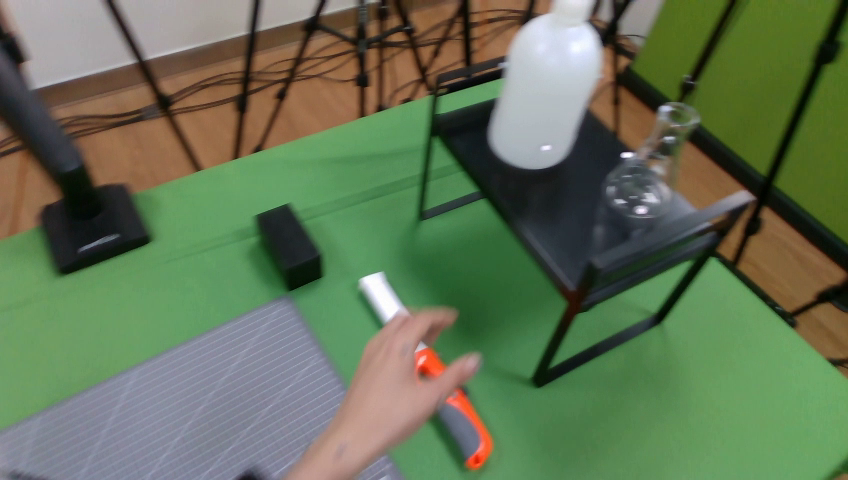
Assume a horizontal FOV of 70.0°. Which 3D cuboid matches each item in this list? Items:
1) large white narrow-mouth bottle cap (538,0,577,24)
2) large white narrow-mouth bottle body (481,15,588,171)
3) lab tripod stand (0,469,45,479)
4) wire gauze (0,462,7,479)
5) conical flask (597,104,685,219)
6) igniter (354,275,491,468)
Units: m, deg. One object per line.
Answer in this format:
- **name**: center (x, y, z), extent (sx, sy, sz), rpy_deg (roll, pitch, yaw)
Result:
- **large white narrow-mouth bottle cap**: center (0.131, -0.232, 0.594), extent (0.038, 0.024, 0.037), rpy_deg (3, 51, -4)
- **large white narrow-mouth bottle body**: center (0.123, -0.175, 0.662), extent (0.102, 0.196, 0.101), rpy_deg (3, 51, -4)
- **lab tripod stand**: center (-0.391, 0.257, 0.518), extent (0.148, 0.132, 0.147), rpy_deg (5, 50, -5)
- **wire gauze**: center (-0.390, 0.214, 0.469), extent (0.121, 0.011, 0.124), rpy_deg (-32, 65, -26)
- **conical flask**: center (0.239, -0.086, 0.651), extent (0.075, 0.123, 0.074), rpy_deg (3, 50, -4)
- **igniter**: center (-0.006, 0.148, 0.726), extent (0.057, 0.025, 0.274), rpy_deg (-18, 55, -32)
